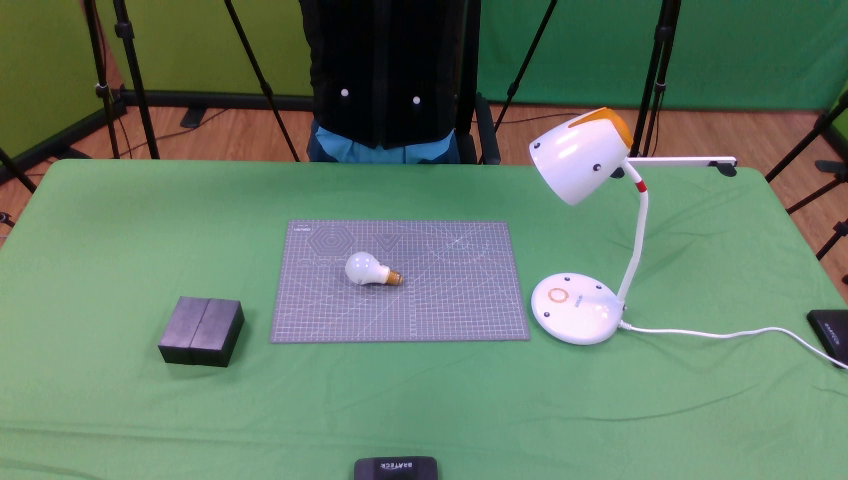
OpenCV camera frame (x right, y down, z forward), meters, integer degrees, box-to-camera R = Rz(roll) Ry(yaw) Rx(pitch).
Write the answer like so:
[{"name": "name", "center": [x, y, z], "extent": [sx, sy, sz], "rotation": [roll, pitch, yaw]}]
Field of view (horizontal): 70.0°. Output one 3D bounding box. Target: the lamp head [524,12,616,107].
[{"name": "lamp head", "center": [0.221, -0.247, 0.885], "extent": [0.112, 0.123, 0.111], "rotation": [-25, 47, 29]}]

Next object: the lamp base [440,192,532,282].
[{"name": "lamp base", "center": [0.127, -0.032, 1.123], "extent": [0.179, 0.181, 0.159], "rotation": [11, 47, 2]}]

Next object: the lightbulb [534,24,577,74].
[{"name": "lightbulb", "center": [0.197, -0.267, 0.885], "extent": [0.059, 0.108, 0.059], "rotation": [-11, 61, 21]}]
